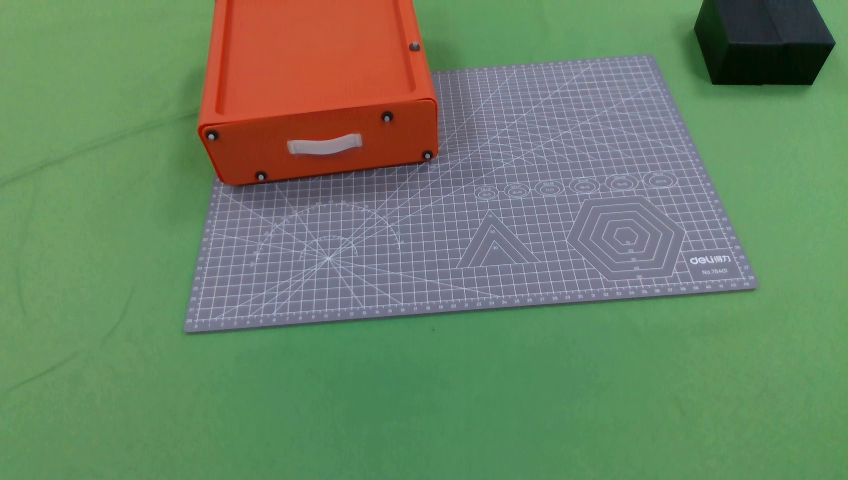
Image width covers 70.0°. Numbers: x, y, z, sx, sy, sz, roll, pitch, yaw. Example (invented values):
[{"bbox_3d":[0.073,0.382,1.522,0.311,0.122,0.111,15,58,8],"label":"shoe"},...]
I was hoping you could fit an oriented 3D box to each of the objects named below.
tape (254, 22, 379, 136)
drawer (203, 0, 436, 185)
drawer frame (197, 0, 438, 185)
[{"bbox_3d":[-0.103,-0.160,0.596,0.117,0.053,0.115,-1,53,2],"label":"tape"},{"bbox_3d":[-0.099,-0.160,0.588,0.194,0.074,0.209,-8,53,-3],"label":"drawer"},{"bbox_3d":[-0.101,-0.163,0.589,0.202,0.083,0.211,-8,52,-3],"label":"drawer frame"}]
